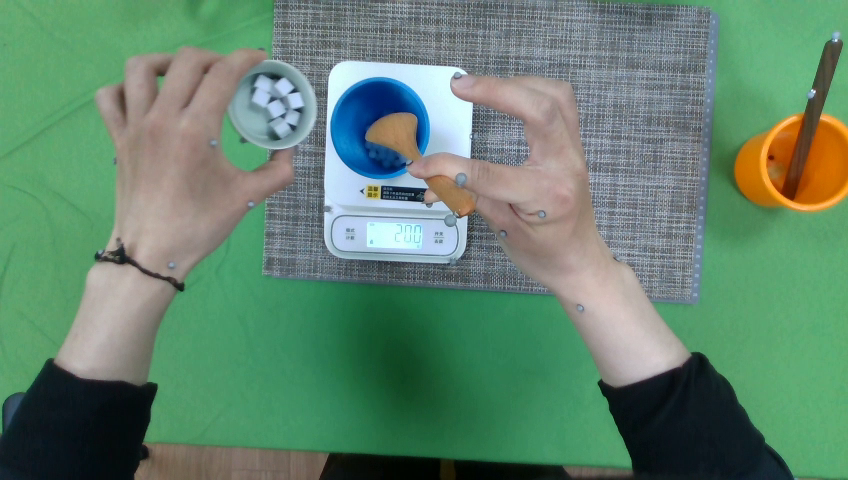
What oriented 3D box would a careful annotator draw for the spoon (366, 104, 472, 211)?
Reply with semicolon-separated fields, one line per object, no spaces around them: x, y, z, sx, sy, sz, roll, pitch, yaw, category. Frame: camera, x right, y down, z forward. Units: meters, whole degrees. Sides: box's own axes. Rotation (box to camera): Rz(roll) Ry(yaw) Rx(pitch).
-0.003;-0.057;0.384;0.041;0.191;0.022;-25;123;-5;spoon

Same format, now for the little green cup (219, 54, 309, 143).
-0.118;-0.100;0.438;0.062;0.038;0.061;-3;97;-26;little green cup

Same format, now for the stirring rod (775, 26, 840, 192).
0.350;-0.112;0.558;0.014;0.005;0.178;-11;134;4;stirring rod

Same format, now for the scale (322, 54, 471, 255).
-0.029;-0.086;0.619;0.148;0.031;0.201;2;93;2;scale

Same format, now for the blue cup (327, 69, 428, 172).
-0.036;-0.103;0.553;0.092;0.100;0.092;0;94;2;blue cup
